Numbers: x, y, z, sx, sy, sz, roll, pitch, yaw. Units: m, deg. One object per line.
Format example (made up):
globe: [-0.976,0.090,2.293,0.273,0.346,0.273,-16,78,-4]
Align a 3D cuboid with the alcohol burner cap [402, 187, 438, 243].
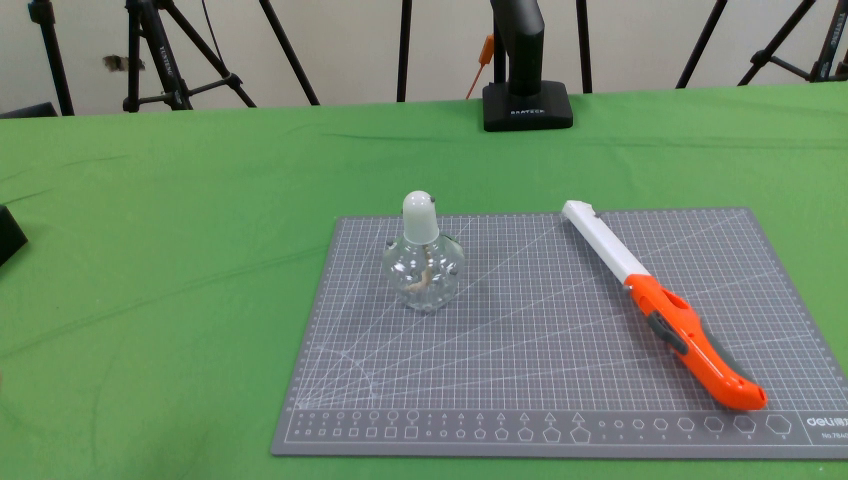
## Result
alcohol burner cap: [-0.005,-0.024,0.528,0.034,0.048,0.033,-2,43,2]

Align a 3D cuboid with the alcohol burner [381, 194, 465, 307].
alcohol burner: [-0.002,0.004,0.551,0.078,0.120,0.077,-2,41,2]

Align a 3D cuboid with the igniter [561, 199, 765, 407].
igniter: [0.200,0.042,0.547,0.057,0.025,0.273,5,33,-23]
